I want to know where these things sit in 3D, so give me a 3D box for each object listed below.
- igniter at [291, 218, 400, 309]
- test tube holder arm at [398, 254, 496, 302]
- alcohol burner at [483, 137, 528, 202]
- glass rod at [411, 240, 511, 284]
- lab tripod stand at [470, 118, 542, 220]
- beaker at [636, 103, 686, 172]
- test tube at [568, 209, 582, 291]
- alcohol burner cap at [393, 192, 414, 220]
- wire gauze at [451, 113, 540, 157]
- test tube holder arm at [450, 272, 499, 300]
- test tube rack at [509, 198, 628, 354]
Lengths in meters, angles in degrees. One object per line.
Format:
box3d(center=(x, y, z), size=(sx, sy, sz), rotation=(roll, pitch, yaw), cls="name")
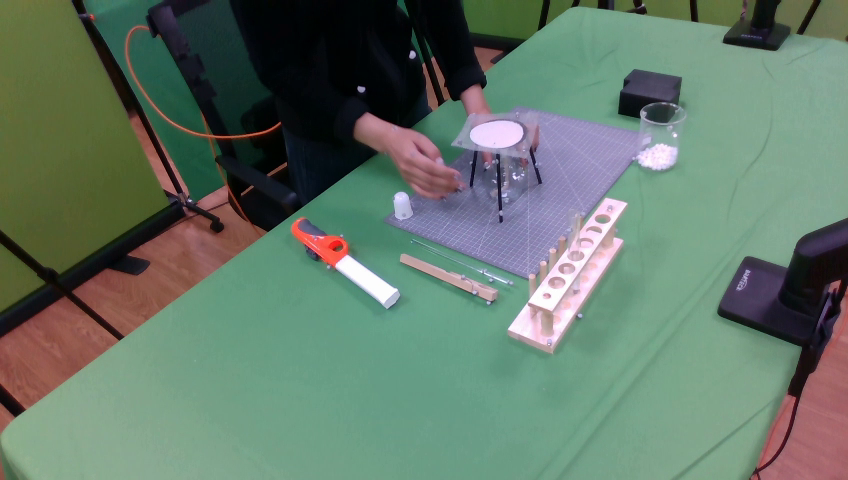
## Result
box3d(center=(-0.135, 0.031, 0.970), size=(0.057, 0.025, 0.274), rotation=(-41, 49, -19), cls="igniter")
box3d(center=(0.032, 0.055, 0.913), size=(0.177, 0.015, 0.013), rotation=(21, 15, 31), cls="test tube holder arm")
box3d(center=(0.138, -0.125, 1.030), size=(0.078, 0.119, 0.077), rotation=(-4, 41, 4), cls="alcohol burner")
box3d(center=(0.053, 0.033, 0.946), size=(0.198, 0.008, 0.008), rotation=(22, 50, 36), cls="glass rod")
box3d(center=(0.135, -0.129, 1.019), size=(0.148, 0.132, 0.147), rotation=(-5, 38, 5), cls="lab tripod stand")
box3d(center=(0.413, -0.177, 1.055), size=(0.084, 0.101, 0.073), rotation=(-28, 44, -21), cls="beaker")
box3d(center=(0.200, 0.017, 0.799), size=(0.017, 0.151, 0.017), rotation=(-8, 45, 8), cls="test tube")
box3d(center=(-0.038, -0.061, 1.043), size=(0.034, 0.048, 0.033), rotation=(-6, 40, 5), cls="alcohol burner cap")
box3d(center=(0.117, -0.173, 0.971), size=(0.124, 0.011, 0.121), rotation=(8, 41, 18), cls="wire gauze")
box3d(center=(0.071, 0.068, 0.894), size=(0.087, 0.015, 0.010), rotation=(21, 15, 32), cls="test tube holder arm")
box3d(center=(0.206, 0.039, 0.850), size=(0.066, 0.085, 0.243), rotation=(20, 48, 31), cls="test tube rack")
